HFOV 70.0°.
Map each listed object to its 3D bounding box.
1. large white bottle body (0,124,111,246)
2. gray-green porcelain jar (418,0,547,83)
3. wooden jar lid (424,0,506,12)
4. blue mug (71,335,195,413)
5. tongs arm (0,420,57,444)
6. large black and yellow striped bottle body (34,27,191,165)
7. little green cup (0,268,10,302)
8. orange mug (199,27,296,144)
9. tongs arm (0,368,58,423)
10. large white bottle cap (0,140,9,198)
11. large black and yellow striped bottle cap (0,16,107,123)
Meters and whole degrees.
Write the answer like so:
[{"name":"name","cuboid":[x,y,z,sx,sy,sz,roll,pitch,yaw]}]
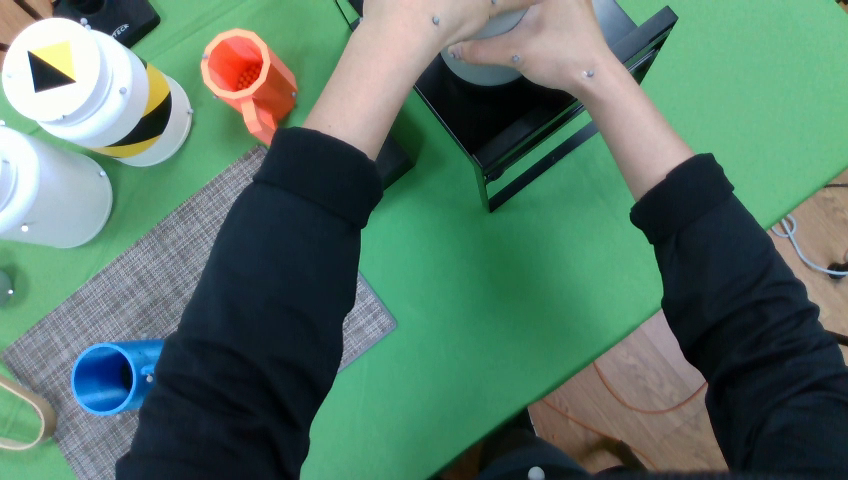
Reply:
[{"name":"large white bottle body","cuboid":[-0.494,-0.066,0.737,0.130,0.185,0.130,-1,84,7]},{"name":"gray-green porcelain jar","cuboid":[0.052,-0.206,0.527,0.105,0.127,0.105,-3,76,13]},{"name":"wooden jar lid","cuboid":[0.037,-0.221,0.468,0.108,0.021,0.108,-3,76,12]},{"name":"blue mug","cuboid":[-0.339,0.156,0.734,0.116,0.106,0.082,-13,83,6]},{"name":"tongs arm","cuboid":[-0.676,0.214,0.788,0.385,0.026,0.050,14,83,1]},{"name":"large black and yellow striped bottle body","cuboid":[-0.387,-0.174,0.734,0.130,0.184,0.130,-1,84,7]},{"name":"little green cup","cuboid":[-0.592,0.061,0.811,0.061,0.039,0.061,-1,85,6]},{"name":"orange mug","cuboid":[-0.214,-0.188,0.758,0.083,0.101,0.125,-15,78,6]},{"name":"tongs arm","cuboid":[-0.649,0.135,0.795,0.387,0.028,0.028,28,79,2]},{"name":"large white bottle cap","cuboid":[-0.505,-0.074,0.653,0.114,0.018,0.114,-1,85,7]},{"name":"large black and yellow striped bottle cap","cuboid":[-0.400,-0.184,0.652,0.115,0.019,0.114,-1,84,6]}]
